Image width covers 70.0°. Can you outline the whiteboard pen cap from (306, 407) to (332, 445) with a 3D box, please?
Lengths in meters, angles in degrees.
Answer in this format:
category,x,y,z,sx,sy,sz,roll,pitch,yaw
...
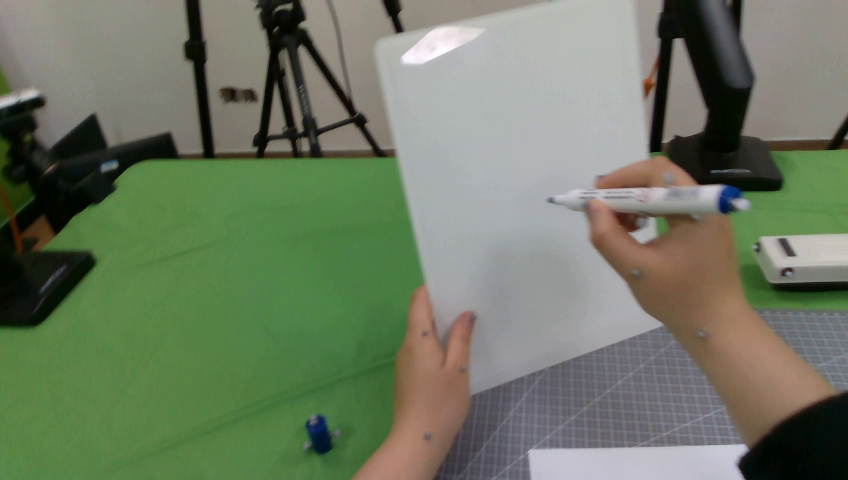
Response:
category,x,y,z,sx,sy,sz,roll,pitch,yaw
whiteboard pen cap,-0.086,0.154,0.500,0.018,0.033,0.018,-4,37,3

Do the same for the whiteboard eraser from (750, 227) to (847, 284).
category,x,y,z,sx,sy,sz,roll,pitch,yaw
whiteboard eraser,0.386,0.016,0.592,0.112,0.042,0.055,-1,39,8

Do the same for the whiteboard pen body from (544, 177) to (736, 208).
category,x,y,z,sx,sy,sz,roll,pitch,yaw
whiteboard pen body,0.122,-0.028,0.371,0.017,0.017,0.140,-29,17,-26

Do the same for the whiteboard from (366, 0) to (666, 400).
category,x,y,z,sx,sy,sz,roll,pitch,yaw
whiteboard,0.075,-0.049,0.565,0.217,0.307,0.143,-17,17,-11
